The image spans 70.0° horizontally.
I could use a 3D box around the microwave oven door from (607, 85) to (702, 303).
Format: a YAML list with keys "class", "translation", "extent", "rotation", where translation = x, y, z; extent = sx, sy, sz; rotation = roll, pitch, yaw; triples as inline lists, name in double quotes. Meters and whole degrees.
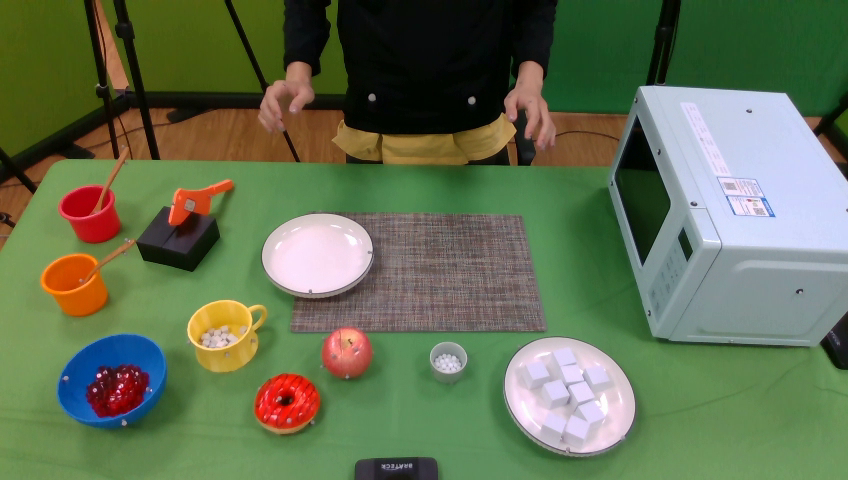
- class: "microwave oven door"
  translation: [0.423, -0.094, 1.140]
  extent: [0.039, 0.245, 0.353]
  rotation: [2, 46, -1]

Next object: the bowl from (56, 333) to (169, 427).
- class: "bowl"
  translation: [-0.456, 0.223, 0.911]
  extent: [0.151, 0.077, 0.150]
  rotation: [3, 45, -2]

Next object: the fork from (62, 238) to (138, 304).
- class: "fork"
  translation: [-0.547, 0.053, 1.018]
  extent: [0.207, 0.019, 0.028]
  rotation: [-36, 41, 23]

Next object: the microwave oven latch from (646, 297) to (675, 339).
- class: "microwave oven latch"
  translation: [0.412, 0.134, 1.061]
  extent: [0.030, 0.029, 0.078]
  rotation: [4, 45, 1]

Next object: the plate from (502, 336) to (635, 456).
- class: "plate"
  translation: [0.225, 0.248, 0.963]
  extent: [0.208, 0.039, 0.206]
  rotation: [2, 46, -2]

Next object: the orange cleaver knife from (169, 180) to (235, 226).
- class: "orange cleaver knife"
  translation: [-0.436, -0.076, 1.199]
  extent: [0.012, 0.077, 0.211]
  rotation: [17, 17, 9]

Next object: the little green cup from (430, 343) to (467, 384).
- class: "little green cup"
  translation: [0.039, 0.203, 0.994]
  extent: [0.061, 0.039, 0.061]
  rotation: [2, 46, -2]

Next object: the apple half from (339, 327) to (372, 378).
- class: "apple half"
  translation: [-0.111, 0.183, 0.980]
  extent: [0.053, 0.075, 0.080]
  rotation: [-2, 42, -12]

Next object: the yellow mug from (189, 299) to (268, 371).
- class: "yellow mug"
  translation: [-0.316, 0.148, 1.002]
  extent: [0.131, 0.064, 0.099]
  rotation: [-33, 56, -31]

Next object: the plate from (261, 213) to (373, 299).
- class: "plate"
  translation: [-0.198, 0.032, 1.137]
  extent: [0.209, 0.038, 0.208]
  rotation: [2, 46, -2]

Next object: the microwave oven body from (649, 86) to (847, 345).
- class: "microwave oven body"
  translation: [0.567, -0.053, 1.118]
  extent: [0.326, 0.261, 0.439]
  rotation: [2, 45, -1]

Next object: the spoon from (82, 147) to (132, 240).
- class: "spoon"
  translation: [-0.602, -0.089, 1.156]
  extent: [0.041, 0.022, 0.193]
  rotation: [27, 95, 19]

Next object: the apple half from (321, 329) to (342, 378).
- class: "apple half"
  translation: [-0.149, 0.186, 0.972]
  extent: [0.033, 0.081, 0.080]
  rotation: [-2, 46, -12]

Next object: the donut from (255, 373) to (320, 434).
- class: "donut"
  translation: [-0.209, 0.249, 0.928]
  extent: [0.099, 0.048, 0.098]
  rotation: [3, 43, -3]
